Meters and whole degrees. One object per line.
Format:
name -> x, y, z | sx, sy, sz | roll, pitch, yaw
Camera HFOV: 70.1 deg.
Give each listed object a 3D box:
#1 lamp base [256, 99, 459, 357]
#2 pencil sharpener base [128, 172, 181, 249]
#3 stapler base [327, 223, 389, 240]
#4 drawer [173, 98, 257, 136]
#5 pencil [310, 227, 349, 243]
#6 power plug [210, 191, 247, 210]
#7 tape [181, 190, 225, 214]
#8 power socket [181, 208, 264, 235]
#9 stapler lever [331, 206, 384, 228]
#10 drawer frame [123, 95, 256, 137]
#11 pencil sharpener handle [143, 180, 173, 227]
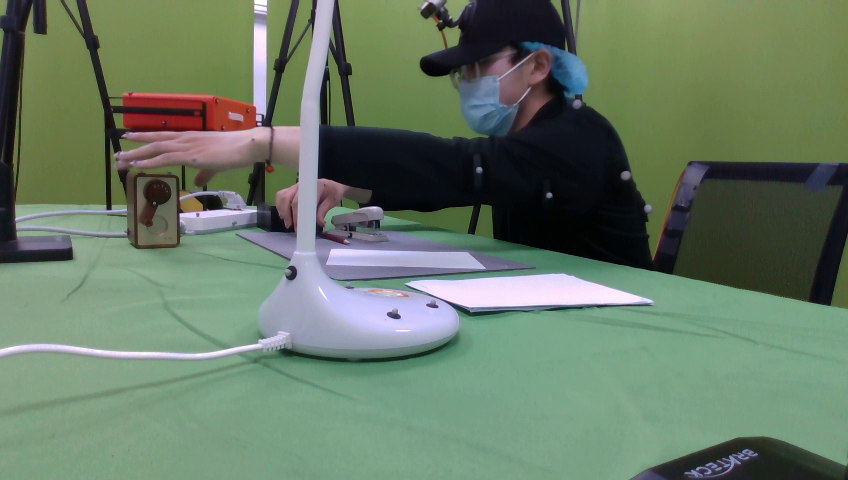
lamp base -> -0.055, -0.013, 0.463 | 0.160, 0.180, 0.180 | 6, 11, 27
pencil sharpener base -> -0.395, -0.044, 0.887 | 0.062, 0.107, 0.076 | -2, 9, -34
stapler base -> -0.117, -0.019, 1.073 | 0.130, 0.024, 0.041 | 8, 8, 41
drawer -> -0.518, -0.279, 1.376 | 0.211, 0.073, 0.195 | 3, 8, 10
pencil -> -0.172, -0.010, 1.041 | 0.012, 0.012, 0.193 | -3, 10, -33
power plug -> -0.386, -0.071, 1.204 | 0.072, 0.052, 0.035 | 7, 8, 26
tape -> -0.515, -0.087, 1.388 | 0.117, 0.052, 0.117 | 3, 7, 0
power socket -> -0.381, -0.038, 1.129 | 0.072, 0.032, 0.227 | 4, 8, 17
stapler lever -> -0.118, -0.043, 1.070 | 0.117, 0.040, 0.027 | 8, 9, 41
drawer frame -> -0.524, -0.281, 1.376 | 0.213, 0.082, 0.202 | 3, 8, 8
pencil sharpener handle -> -0.371, -0.050, 0.840 | 0.036, 0.067, 0.030 | 25, -6, -34
